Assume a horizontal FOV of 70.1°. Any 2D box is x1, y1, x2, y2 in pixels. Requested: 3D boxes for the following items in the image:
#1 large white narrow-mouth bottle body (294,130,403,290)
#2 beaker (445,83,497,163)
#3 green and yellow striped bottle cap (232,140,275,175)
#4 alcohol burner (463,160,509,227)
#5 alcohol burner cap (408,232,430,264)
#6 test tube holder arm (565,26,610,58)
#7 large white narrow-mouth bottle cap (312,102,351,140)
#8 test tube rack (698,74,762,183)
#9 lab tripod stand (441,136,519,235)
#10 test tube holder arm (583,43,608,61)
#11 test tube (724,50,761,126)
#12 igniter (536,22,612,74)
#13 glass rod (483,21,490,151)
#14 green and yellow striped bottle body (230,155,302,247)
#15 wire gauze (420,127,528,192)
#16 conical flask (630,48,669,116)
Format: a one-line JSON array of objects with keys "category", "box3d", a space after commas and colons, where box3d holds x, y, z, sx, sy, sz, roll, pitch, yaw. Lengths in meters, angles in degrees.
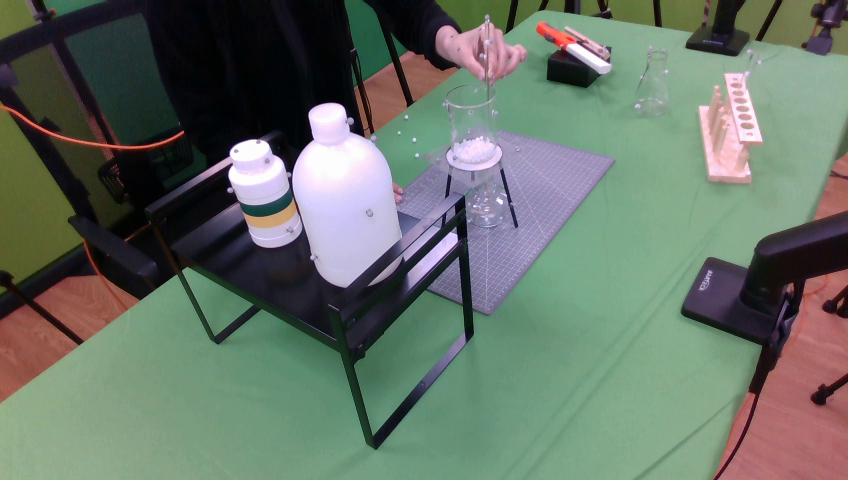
[{"category": "large white narrow-mouth bottle body", "box3d": [-0.082, -0.047, 0.634, 0.102, 0.195, 0.101, -4, 39, 4]}, {"category": "beaker", "box3d": [0.073, -0.174, 0.904, 0.074, 0.101, 0.084, 3, 42, 13]}, {"category": "green and yellow striped bottle cap", "box3d": [-0.192, -0.093, 0.680, 0.045, 0.020, 0.045, -5, 39, 5]}, {"category": "alcohol burner", "box3d": [0.102, -0.081, 0.982, 0.078, 0.119, 0.077, -4, 43, 4]}, {"category": "alcohol burner cap", "box3d": [-0.009, 0.010, 0.947, 0.034, 0.048, 0.033, -4, 40, 4]}, {"category": "test tube holder arm", "box3d": [0.369, -0.451, 1.373, 0.013, 0.015, 0.177, -39, 41, 10]}, {"category": "large white narrow-mouth bottle cap", "box3d": [-0.089, -0.114, 0.579, 0.038, 0.024, 0.037, -4, 39, 3]}, {"category": "test tube rack", "box3d": [0.547, -0.208, 1.095, 0.066, 0.085, 0.242, 5, 42, 15]}, {"category": "lab tripod stand", "box3d": [0.083, -0.086, 0.976, 0.148, 0.132, 0.147, -4, 42, 4]}, {"category": "test tube holder arm", "box3d": [0.379, -0.420, 1.341, 0.010, 0.015, 0.087, -39, 41, 10]}, {"category": "test tube", "box3d": [0.570, -0.269, 1.086, 0.017, 0.151, 0.017, -1, 45, 1]}, {"category": "igniter", "box3d": [0.330, -0.438, 1.366, 0.057, 0.025, 0.274, -11, 41, -19]}, {"category": "glass rod", "box3d": [0.089, -0.214, 0.865, 0.008, 0.200, 0.008, -2, 40, 2]}, {"category": "green and yellow striped bottle body", "box3d": [-0.188, -0.055, 0.714, 0.063, 0.120, 0.063, -4, 40, 4]}, {"category": "wire gauze", "box3d": [0.076, -0.131, 0.927, 0.122, 0.011, 0.124, -34, 49, -25]}, {"category": "conical flask", "box3d": [0.456, -0.317, 1.205, 0.075, 0.122, 0.075, -4, 41, 4]}]
